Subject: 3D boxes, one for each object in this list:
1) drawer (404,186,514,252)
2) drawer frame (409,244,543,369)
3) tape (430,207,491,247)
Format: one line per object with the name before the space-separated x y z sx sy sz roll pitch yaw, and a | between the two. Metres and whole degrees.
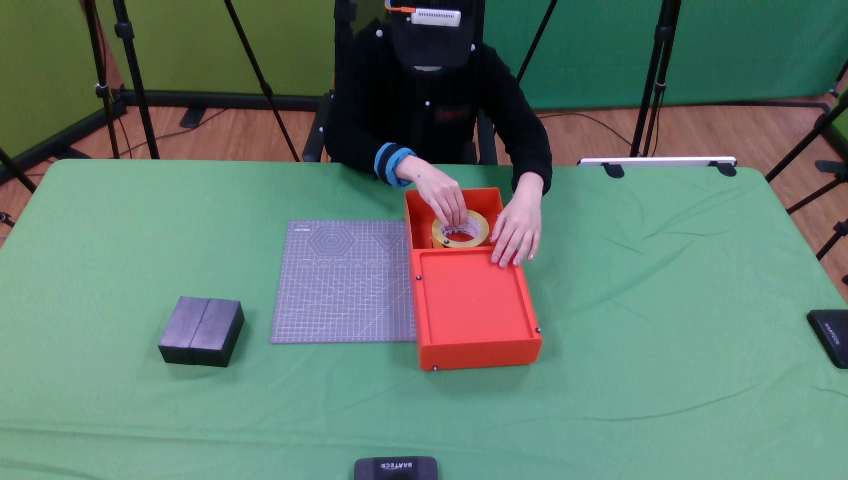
drawer | 0.066 -0.011 1.171 0.195 0.073 0.210 -1 45 -6
drawer frame | 0.082 0.110 1.052 0.202 0.083 0.212 -2 47 -7
tape | 0.069 -0.008 1.165 0.117 0.053 0.116 0 45 0
